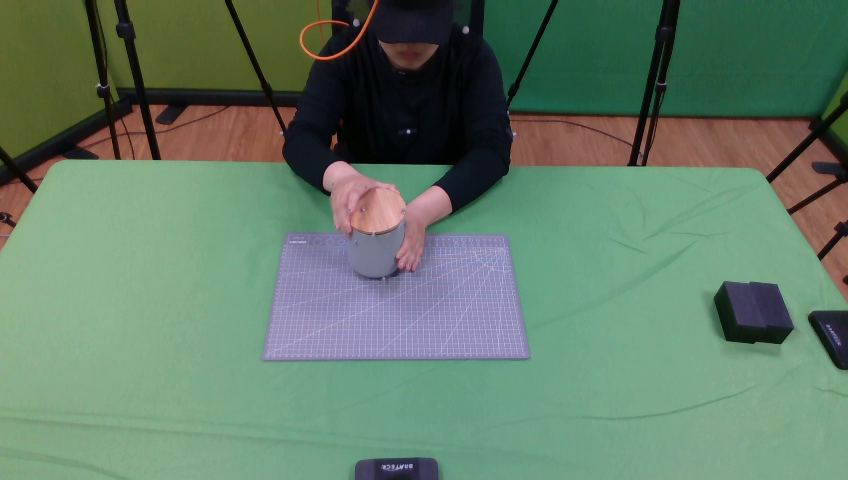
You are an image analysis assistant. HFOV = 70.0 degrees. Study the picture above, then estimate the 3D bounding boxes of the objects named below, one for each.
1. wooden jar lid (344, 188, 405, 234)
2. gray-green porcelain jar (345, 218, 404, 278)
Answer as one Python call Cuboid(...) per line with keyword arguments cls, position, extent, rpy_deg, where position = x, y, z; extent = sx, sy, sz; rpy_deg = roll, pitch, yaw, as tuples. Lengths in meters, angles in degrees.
Cuboid(cls="wooden jar lid", position=(-0.086, -0.048, 1.069), extent=(0.108, 0.021, 0.107), rpy_deg=(0, 50, 1))
Cuboid(cls="gray-green porcelain jar", position=(-0.091, -0.001, 1.117), extent=(0.106, 0.127, 0.105), rpy_deg=(3, 46, -2))
